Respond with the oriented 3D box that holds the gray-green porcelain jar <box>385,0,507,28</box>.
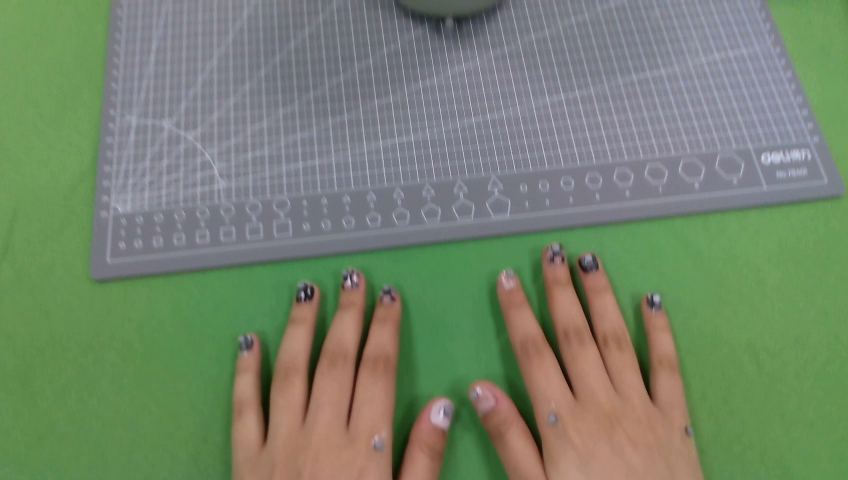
[{"bbox_3d":[0.015,-0.207,0.374,0.106,0.127,0.105,1,67,-1],"label":"gray-green porcelain jar"}]
